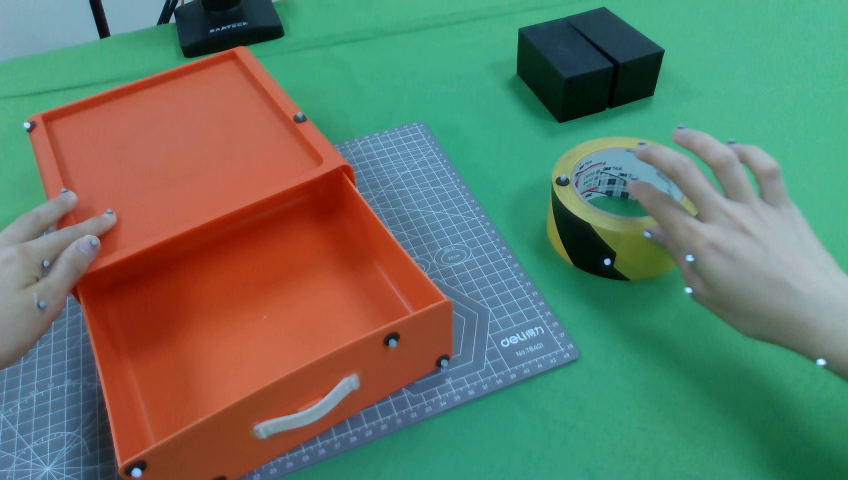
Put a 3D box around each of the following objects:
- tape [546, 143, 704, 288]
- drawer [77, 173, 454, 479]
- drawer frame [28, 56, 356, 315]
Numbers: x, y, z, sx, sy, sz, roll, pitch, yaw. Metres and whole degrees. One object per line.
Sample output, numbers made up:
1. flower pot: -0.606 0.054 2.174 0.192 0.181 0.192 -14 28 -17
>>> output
1. tape: 0.153 -0.023 0.472 0.117 0.053 0.115 -2 46 2
2. drawer: -0.115 0.040 0.410 0.195 0.074 0.209 -26 50 -18
3. drawer frame: -0.188 -0.045 0.494 0.202 0.083 0.211 -27 50 -19
